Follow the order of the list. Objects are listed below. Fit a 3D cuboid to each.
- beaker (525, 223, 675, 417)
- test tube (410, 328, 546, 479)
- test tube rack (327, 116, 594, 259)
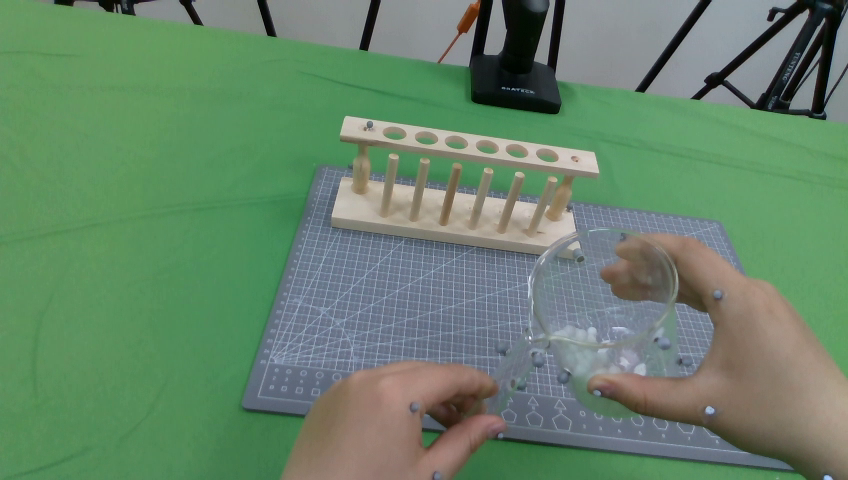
[{"bbox_3d":[0.102,0.052,0.345,0.084,0.101,0.073,-35,47,-6],"label":"beaker"},{"bbox_3d":[0.026,0.105,0.351,0.017,0.151,0.017,20,34,-14],"label":"test tube"},{"bbox_3d":[0.034,-0.049,0.583,0.243,0.086,0.066,8,43,-4],"label":"test tube rack"}]
